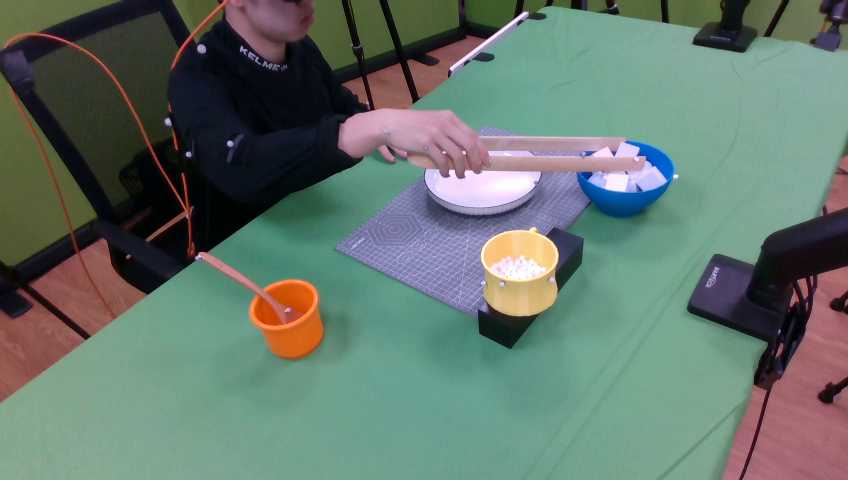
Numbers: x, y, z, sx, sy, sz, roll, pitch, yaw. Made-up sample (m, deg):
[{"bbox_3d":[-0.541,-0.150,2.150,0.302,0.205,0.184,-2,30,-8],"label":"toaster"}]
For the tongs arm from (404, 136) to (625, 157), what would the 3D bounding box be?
[{"bbox_3d":[0.152,-0.144,0.943,0.390,0.028,0.028,-3,38,-21],"label":"tongs arm"}]

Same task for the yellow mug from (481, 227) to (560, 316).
[{"bbox_3d":[0.131,0.032,0.801,0.099,0.064,0.131,12,43,20],"label":"yellow mug"}]

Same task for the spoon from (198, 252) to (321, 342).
[{"bbox_3d":[-0.220,0.075,0.814,0.021,0.194,0.041,-36,19,40],"label":"spoon"}]

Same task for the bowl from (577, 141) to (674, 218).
[{"bbox_3d":[0.321,-0.089,0.984,0.151,0.077,0.150,-3,40,3],"label":"bowl"}]

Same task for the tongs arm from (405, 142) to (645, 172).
[{"bbox_3d":[0.162,-0.124,0.913,0.387,0.026,0.050,-3,35,-21],"label":"tongs arm"}]

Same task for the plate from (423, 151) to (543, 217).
[{"bbox_3d":[0.103,-0.103,1.059,0.207,0.039,0.206,-4,40,4],"label":"plate"}]
